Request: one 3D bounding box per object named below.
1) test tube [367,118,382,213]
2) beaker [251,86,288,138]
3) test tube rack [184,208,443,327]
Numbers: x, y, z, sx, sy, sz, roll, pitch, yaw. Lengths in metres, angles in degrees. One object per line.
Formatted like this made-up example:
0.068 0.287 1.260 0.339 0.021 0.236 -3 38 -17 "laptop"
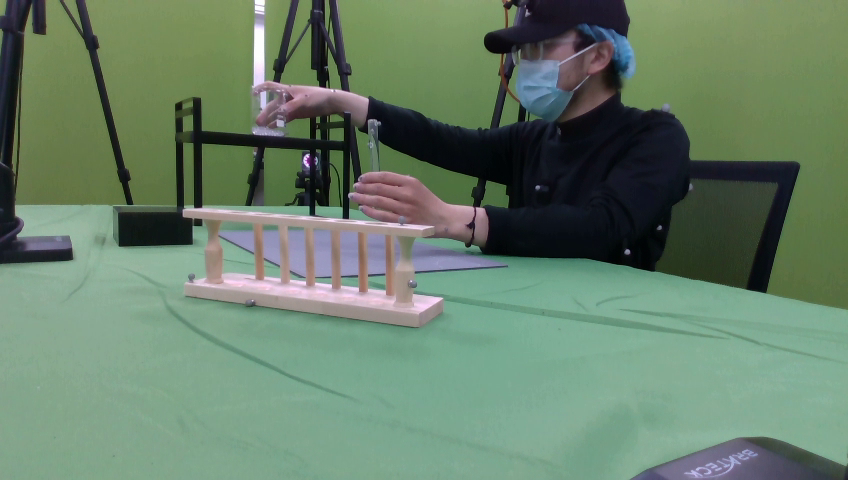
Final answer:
-0.078 -0.117 0.954 0.017 0.150 0.017 -3 -1 0 "test tube"
-0.322 -0.263 1.248 0.074 0.100 0.084 5 8 19 "beaker"
-0.106 0.019 0.570 0.241 0.085 0.067 5 7 20 "test tube rack"
